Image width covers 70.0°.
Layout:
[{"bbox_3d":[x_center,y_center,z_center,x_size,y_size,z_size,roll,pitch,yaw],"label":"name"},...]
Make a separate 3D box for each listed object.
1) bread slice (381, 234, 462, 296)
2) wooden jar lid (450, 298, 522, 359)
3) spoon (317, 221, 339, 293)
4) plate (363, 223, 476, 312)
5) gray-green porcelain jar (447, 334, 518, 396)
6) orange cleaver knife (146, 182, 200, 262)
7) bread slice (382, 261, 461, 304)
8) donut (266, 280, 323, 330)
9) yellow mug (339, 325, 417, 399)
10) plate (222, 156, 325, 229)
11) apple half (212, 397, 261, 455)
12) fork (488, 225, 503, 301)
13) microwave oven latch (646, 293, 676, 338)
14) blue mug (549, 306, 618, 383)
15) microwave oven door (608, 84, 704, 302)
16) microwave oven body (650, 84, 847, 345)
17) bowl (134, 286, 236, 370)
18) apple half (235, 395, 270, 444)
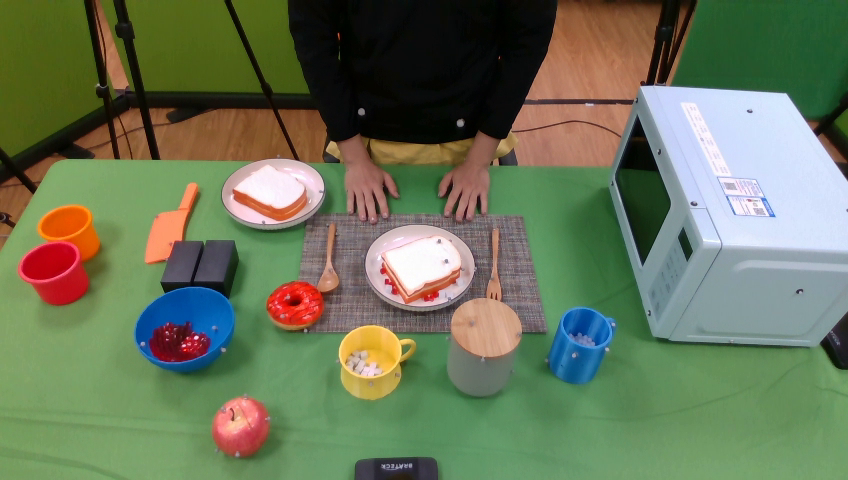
[{"bbox_3d":[0.001,0.038,1.107,0.134,0.018,0.106,-25,56,-23],"label":"bread slice"},{"bbox_3d":[0.093,0.135,0.914,0.108,0.021,0.107,2,48,-3],"label":"wooden jar lid"},{"bbox_3d":[-0.178,0.028,1.149,0.041,0.022,0.192,-16,46,11],"label":"spoon"},{"bbox_3d":[-0.009,0.054,1.126,0.208,0.039,0.206,2,46,-2],"label":"plate"},{"bbox_3d":[0.091,0.178,0.960,0.106,0.127,0.105,2,46,-2],"label":"gray-green porcelain jar"},{"bbox_3d":[-0.494,-0.039,1.199,0.077,0.012,0.210,-4,48,2],"label":"orange cleaver knife"},{"bbox_3d":[0.000,0.055,1.129,0.131,0.019,0.104,-22,51,-21],"label":"bread slice"},{"bbox_3d":[-0.223,0.113,1.051,0.099,0.048,0.098,2,46,-2],"label":"donut"},{"bbox_3d":[-0.072,0.191,0.978,0.131,0.064,0.099,-17,49,-20],"label":"yellow mug"},{"bbox_3d":[-0.308,-0.095,1.251,0.209,0.038,0.208,2,47,-2],"label":"plate"},{"bbox_3d":[-0.276,0.277,0.877,0.053,0.075,0.080,-29,58,-21],"label":"apple half"},{"bbox_3d":[0.138,0.042,1.160,0.028,0.019,0.206,0,47,8],"label":"fork"},{"bbox_3d":[0.412,0.133,1.060,0.030,0.029,0.078,3,46,0],"label":"microwave oven latch"},{"bbox_3d":[0.269,0.167,0.997,0.116,0.106,0.082,-19,50,-21],"label":"blue mug"},{"bbox_3d":[0.424,-0.096,1.138,0.039,0.245,0.353,2,46,-1],"label":"microwave oven door"},{"bbox_3d":[0.569,-0.054,1.116,0.326,0.261,0.439,2,46,-1],"label":"microwave oven body"},{"bbox_3d":[-0.377,0.156,0.981,0.151,0.077,0.150,2,46,-2],"label":"bowl"},{"bbox_3d":[-0.245,0.260,0.893,0.033,0.082,0.081,-29,55,-22],"label":"apple half"}]
